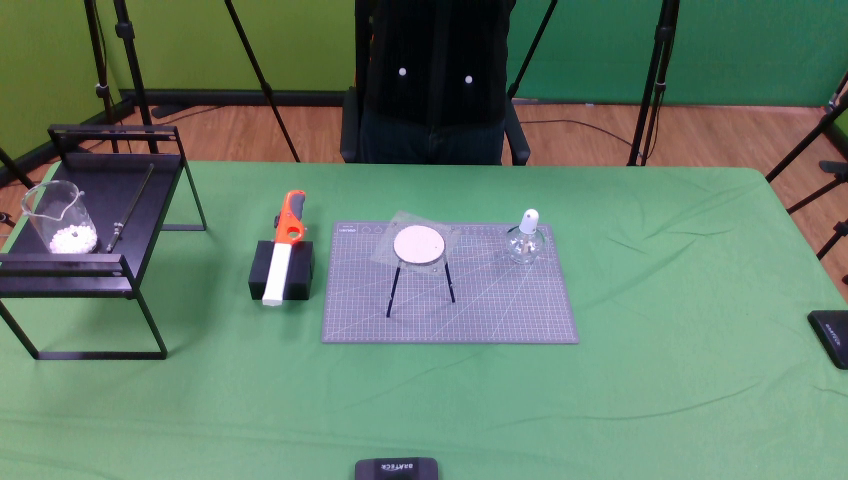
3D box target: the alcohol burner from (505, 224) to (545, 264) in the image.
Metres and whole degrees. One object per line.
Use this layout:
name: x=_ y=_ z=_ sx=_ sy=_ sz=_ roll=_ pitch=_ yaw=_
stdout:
alcohol burner: x=0.195 y=-0.013 z=1.158 sx=0.078 sy=0.120 sz=0.077 roll=1 pitch=44 yaw=-1

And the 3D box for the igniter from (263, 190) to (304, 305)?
igniter: x=-0.255 y=0.004 z=1.107 sx=0.057 sy=0.025 sz=0.274 roll=5 pitch=47 yaw=-7

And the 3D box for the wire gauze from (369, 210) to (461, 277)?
wire gauze: x=-0.013 y=0.005 z=1.017 sx=0.121 sy=0.011 sz=0.124 roll=17 pitch=49 yaw=12

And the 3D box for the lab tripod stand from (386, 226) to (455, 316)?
lab tripod stand: x=-0.013 y=0.054 z=1.064 sx=0.148 sy=0.132 sz=0.147 roll=2 pitch=48 yaw=-2

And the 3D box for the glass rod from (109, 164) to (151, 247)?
glass rod: x=-0.473 y=-0.061 z=0.979 sx=0.008 sy=0.008 sz=0.198 roll=1 pitch=46 yaw=-3

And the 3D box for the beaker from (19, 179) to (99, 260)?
beaker: x=-0.522 y=-0.024 z=0.878 sx=0.074 sy=0.101 sz=0.083 roll=-26 pitch=54 yaw=-25

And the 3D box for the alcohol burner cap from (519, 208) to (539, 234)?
alcohol burner cap: x=0.199 y=-0.037 z=1.132 sx=0.034 sy=0.048 sz=0.033 roll=4 pitch=44 yaw=-4
